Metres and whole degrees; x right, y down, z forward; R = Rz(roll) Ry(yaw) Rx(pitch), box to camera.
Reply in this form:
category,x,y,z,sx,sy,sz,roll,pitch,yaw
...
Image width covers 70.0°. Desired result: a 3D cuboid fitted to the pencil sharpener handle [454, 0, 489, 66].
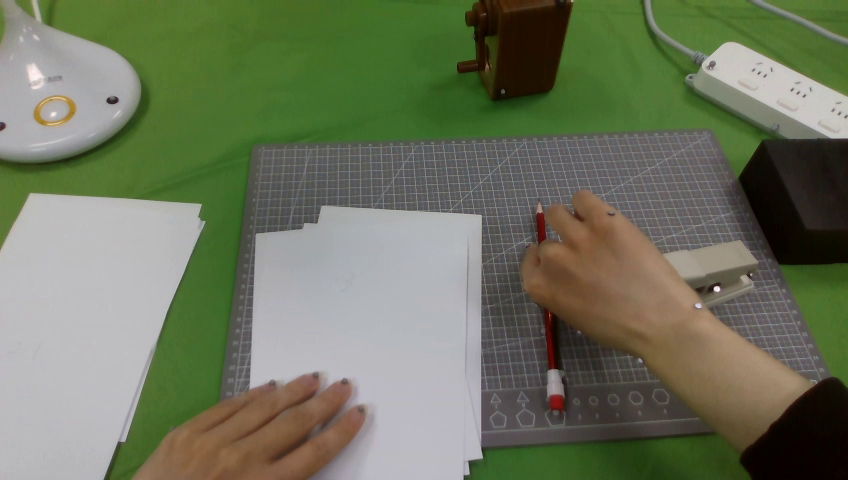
category,x,y,z,sx,sy,sz,roll,pitch,yaw
pencil sharpener handle,0.043,-0.201,0.576,0.031,0.068,0.035,-12,34,-9

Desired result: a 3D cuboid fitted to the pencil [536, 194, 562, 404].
category,x,y,z,sx,sy,sz,roll,pitch,yaw
pencil,0.097,0.037,0.483,0.012,0.012,0.192,3,54,1

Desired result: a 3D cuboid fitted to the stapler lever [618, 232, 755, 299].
category,x,y,z,sx,sy,sz,roll,pitch,yaw
stapler lever,0.203,0.016,0.462,0.118,0.040,0.026,-16,57,-15

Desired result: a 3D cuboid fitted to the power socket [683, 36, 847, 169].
category,x,y,z,sx,sy,sz,roll,pitch,yaw
power socket,0.374,-0.136,0.604,0.225,0.033,0.072,38,62,23

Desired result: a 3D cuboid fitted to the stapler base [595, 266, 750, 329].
category,x,y,z,sx,sy,sz,roll,pitch,yaw
stapler base,0.201,0.032,0.482,0.131,0.024,0.041,-16,58,-15

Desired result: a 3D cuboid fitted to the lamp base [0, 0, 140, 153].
category,x,y,z,sx,sy,sz,roll,pitch,yaw
lamp base,-0.366,-0.197,0.530,0.161,0.182,0.177,-30,58,-21

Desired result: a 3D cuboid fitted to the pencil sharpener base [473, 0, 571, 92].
category,x,y,z,sx,sy,sz,roll,pitch,yaw
pencil sharpener base,0.090,-0.208,0.599,0.077,0.108,0.060,-12,56,-9
